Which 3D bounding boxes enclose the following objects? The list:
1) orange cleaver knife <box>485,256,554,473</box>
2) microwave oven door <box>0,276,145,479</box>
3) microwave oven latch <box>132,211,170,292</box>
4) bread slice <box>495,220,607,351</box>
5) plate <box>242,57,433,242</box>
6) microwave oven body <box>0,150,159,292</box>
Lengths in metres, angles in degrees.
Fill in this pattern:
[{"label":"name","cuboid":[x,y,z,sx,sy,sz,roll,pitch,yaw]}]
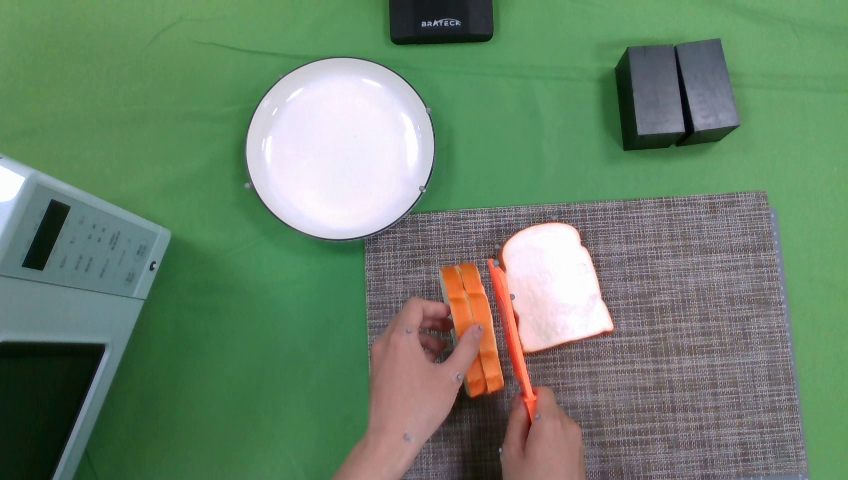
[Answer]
[{"label":"orange cleaver knife","cuboid":[0.090,0.118,0.593,0.012,0.077,0.211,-14,89,-4]},{"label":"microwave oven door","cuboid":[-0.372,0.200,0.506,0.039,0.244,0.355,18,81,4]},{"label":"microwave oven latch","cuboid":[-0.296,0.013,0.637,0.030,0.029,0.079,21,82,4]},{"label":"bread slice","cuboid":[0.135,0.046,0.654,0.107,0.018,0.134,-11,90,-6]},{"label":"plate","cuboid":[-0.093,-0.098,0.671,0.208,0.039,0.207,0,81,0]},{"label":"microwave oven body","cuboid":[-0.496,0.115,0.525,0.326,0.261,0.440,19,82,3]}]
